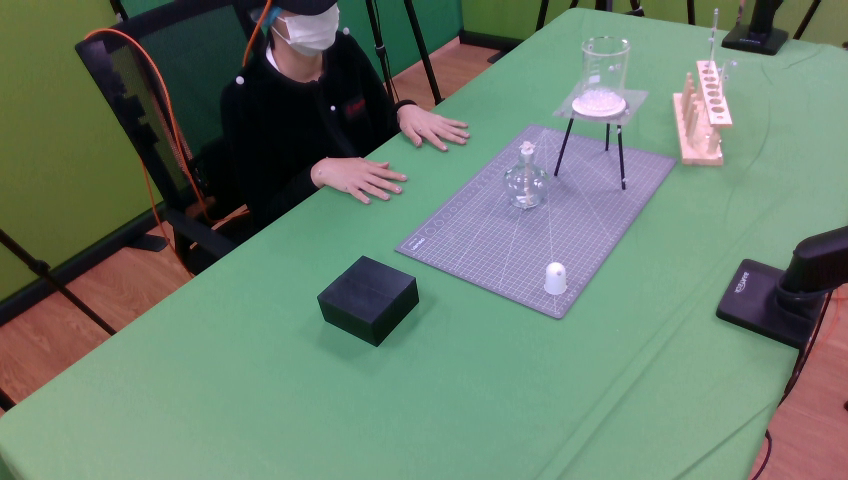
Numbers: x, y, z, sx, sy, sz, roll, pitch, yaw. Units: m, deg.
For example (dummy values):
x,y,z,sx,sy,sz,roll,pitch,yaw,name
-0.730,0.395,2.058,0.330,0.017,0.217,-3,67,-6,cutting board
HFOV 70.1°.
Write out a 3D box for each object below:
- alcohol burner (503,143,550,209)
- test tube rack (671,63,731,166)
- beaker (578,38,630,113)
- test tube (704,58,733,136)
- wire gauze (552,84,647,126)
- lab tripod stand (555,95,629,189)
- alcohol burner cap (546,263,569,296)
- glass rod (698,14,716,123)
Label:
x,y,z,sx,sy,sz,roll,pitch,yaw,name
0.171,-0.111,1.007,0.078,0.119,0.077,-3,41,3,alcohol burner
0.513,-0.241,1.132,0.066,0.085,0.242,4,41,14,test tube rack
0.290,-0.265,0.976,0.084,0.101,0.073,-18,41,-14,beaker
0.516,-0.247,1.062,0.017,0.151,0.017,-3,43,4,test tube
0.293,-0.224,1.004,0.120,0.011,0.125,19,43,26,wire gauze
0.300,-0.174,1.045,0.148,0.132,0.147,-5,38,5,lab tripod stand
0.191,0.053,0.862,0.034,0.048,0.033,-5,40,4,alcohol burner cap
0.531,-0.320,1.136,0.008,0.200,0.008,3,12,0,glass rod
